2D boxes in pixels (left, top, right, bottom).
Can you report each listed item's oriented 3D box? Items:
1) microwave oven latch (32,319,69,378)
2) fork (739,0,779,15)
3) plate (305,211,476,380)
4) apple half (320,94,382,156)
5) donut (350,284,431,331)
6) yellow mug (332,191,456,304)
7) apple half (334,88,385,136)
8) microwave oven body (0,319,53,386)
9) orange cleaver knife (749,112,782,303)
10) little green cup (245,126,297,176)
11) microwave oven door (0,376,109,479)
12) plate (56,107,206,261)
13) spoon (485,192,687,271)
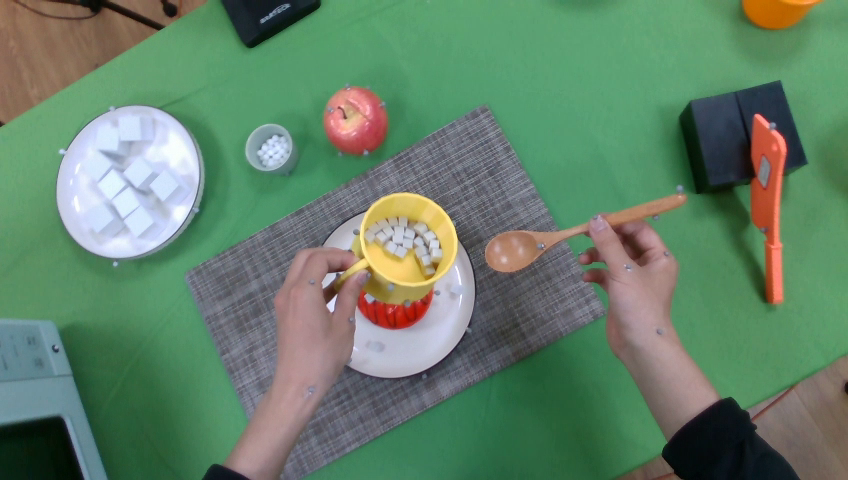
[{"bbox_3d":[-0.487,0.141,0.777,0.030,0.029,0.079,-25,80,4],"label":"microwave oven latch"},{"bbox_3d":[0.449,-0.317,0.662,0.207,0.019,0.028,-31,72,48],"label":"fork"},{"bbox_3d":[-0.040,0.063,0.736,0.209,0.038,0.208,-1,83,9],"label":"plate"},{"bbox_3d":[-0.097,-0.135,0.758,0.080,0.075,0.053,41,94,8],"label":"apple half"},{"bbox_3d":[-0.040,0.060,0.725,0.099,0.048,0.099,-1,85,9],"label":"donut"},{"bbox_3d":[-0.036,0.016,0.610,0.131,0.064,0.099,-31,81,-24],"label":"yellow mug"},{"bbox_3d":[-0.072,-0.165,0.757,0.081,0.081,0.033,41,93,12],"label":"apple half"},{"bbox_3d":[-0.559,0.349,0.661,0.326,0.261,0.439,-26,80,4],"label":"microwave oven body"},{"bbox_3d":[0.373,-0.033,0.667,0.012,0.076,0.213,-10,113,9],"label":"orange cleaver knife"},{"bbox_3d":[-0.197,-0.112,0.787,0.061,0.039,0.061,-1,82,9],"label":"little green cup"},{"bbox_3d":[-0.411,0.321,0.638,0.039,0.245,0.354,-27,79,4],"label":"microwave oven door"},{"bbox_3d":[-0.386,-0.073,0.810,0.207,0.039,0.207,-1,82,8],"label":"plate"},{"bbox_3d":[0.149,-0.010,0.575,0.193,0.022,0.041,-18,79,25],"label":"spoon"}]
